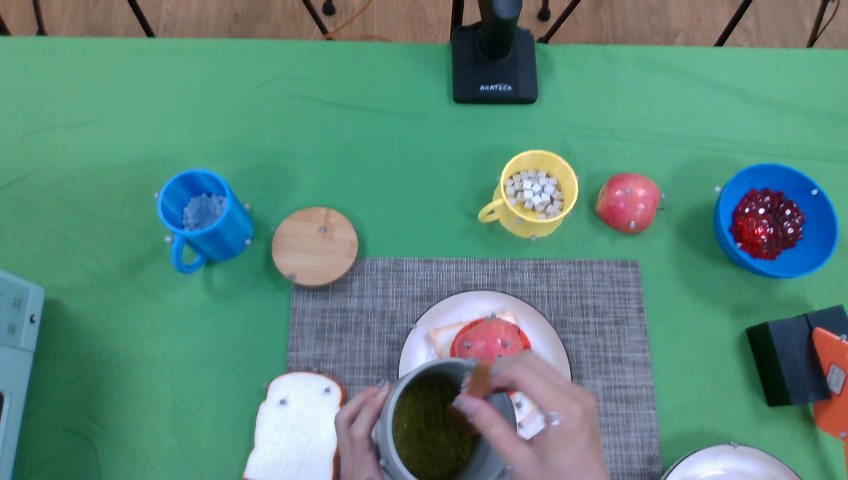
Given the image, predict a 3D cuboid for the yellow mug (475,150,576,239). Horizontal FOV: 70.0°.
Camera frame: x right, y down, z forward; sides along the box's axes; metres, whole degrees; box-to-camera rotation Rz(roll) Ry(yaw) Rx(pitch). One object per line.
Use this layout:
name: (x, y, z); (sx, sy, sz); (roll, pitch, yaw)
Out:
yellow mug: (0.127, -0.053, 0.785); (0.131, 0.064, 0.099); (-23, 75, -8)

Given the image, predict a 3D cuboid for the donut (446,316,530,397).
donut: (0.075, 0.137, 0.705); (0.099, 0.048, 0.098); (1, 73, -2)

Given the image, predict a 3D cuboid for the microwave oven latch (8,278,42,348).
microwave oven latch: (-0.473, 0.085, 0.709); (0.030, 0.029, 0.078); (4, 73, -2)

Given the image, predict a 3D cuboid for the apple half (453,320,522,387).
apple half: (0.073, 0.126, 0.671); (0.081, 0.033, 0.081); (-1, 71, 4)

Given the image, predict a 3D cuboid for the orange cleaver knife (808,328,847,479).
orange cleaver knife: (0.486, 0.209, 0.712); (0.012, 0.077, 0.211); (-10, 95, -12)

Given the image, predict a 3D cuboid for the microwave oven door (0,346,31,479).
microwave oven door: (-0.472, 0.263, 0.547); (0.039, 0.245, 0.353); (0, 72, -2)

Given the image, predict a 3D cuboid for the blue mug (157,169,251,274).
blue mug: (-0.270, -0.013, 0.733); (0.082, 0.106, 0.116); (20, 73, 4)

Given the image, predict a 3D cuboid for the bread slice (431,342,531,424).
bread slice: (0.073, 0.164, 0.737); (0.107, 0.018, 0.133); (-16, 66, -10)

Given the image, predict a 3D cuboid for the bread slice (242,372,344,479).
bread slice: (-0.150, 0.221, 0.709); (0.105, 0.019, 0.131); (8, 74, -1)

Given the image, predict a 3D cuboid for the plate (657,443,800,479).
plate: (0.349, 0.339, 0.688); (0.209, 0.038, 0.208); (1, 73, -2)

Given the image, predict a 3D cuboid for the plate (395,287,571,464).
plate: (0.069, 0.161, 0.727); (0.208, 0.039, 0.206); (1, 73, -2)

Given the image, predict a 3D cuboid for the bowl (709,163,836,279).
bowl: (0.431, -0.015, 0.781); (0.151, 0.077, 0.150); (1, 73, -2)

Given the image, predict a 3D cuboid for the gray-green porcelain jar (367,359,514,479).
gray-green porcelain jar: (0.007, 0.165, 0.527); (0.106, 0.127, 0.105); (5, 70, -12)

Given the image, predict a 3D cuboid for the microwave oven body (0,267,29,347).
microwave oven body: (-0.617, 0.222, 0.559); (0.326, 0.261, 0.439); (1, 73, -3)

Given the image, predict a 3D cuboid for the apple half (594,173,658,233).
apple half: (0.269, -0.055, 0.799); (0.074, 0.053, 0.080); (22, 73, 7)

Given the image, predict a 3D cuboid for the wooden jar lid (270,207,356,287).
wooden jar lid: (-0.141, 0.010, 0.774); (0.108, 0.021, 0.107); (1, 69, -1)

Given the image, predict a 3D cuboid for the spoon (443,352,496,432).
spoon: (0.039, 0.122, 0.465); (0.041, 0.195, 0.021); (18, 65, 7)
